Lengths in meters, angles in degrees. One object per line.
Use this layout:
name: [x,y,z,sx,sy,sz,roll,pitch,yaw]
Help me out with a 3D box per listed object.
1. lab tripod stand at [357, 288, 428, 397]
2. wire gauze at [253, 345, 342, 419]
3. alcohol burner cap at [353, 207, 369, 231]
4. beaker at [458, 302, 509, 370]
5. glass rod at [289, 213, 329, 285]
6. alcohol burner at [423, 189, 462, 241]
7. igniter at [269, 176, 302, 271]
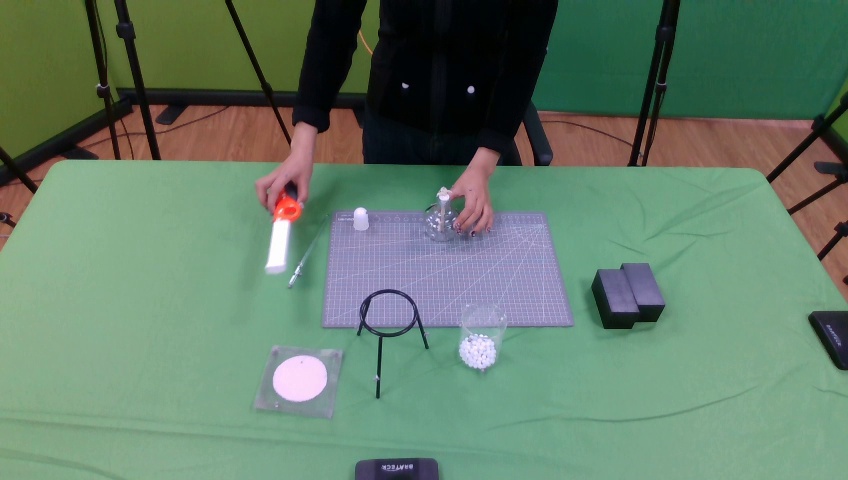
lab tripod stand: [-0.058,0.155,0.967,0.148,0.132,0.147,3,47,-3]
wire gauze: [-0.200,0.224,0.979,0.125,0.011,0.121,7,47,0]
alcohol burner cap: [-0.127,-0.046,1.215,0.034,0.048,0.033,2,47,-2]
beaker: [0.092,0.159,0.999,0.083,0.101,0.074,35,53,28]
glass rod: [-0.222,0.014,1.179,0.008,0.008,0.199,12,46,8]
alcohol burner: [0.036,-0.055,1.186,0.078,0.120,0.077,2,48,-2]
igniter: [-0.259,-0.040,1.130,0.057,0.025,0.274,-5,39,-3]
